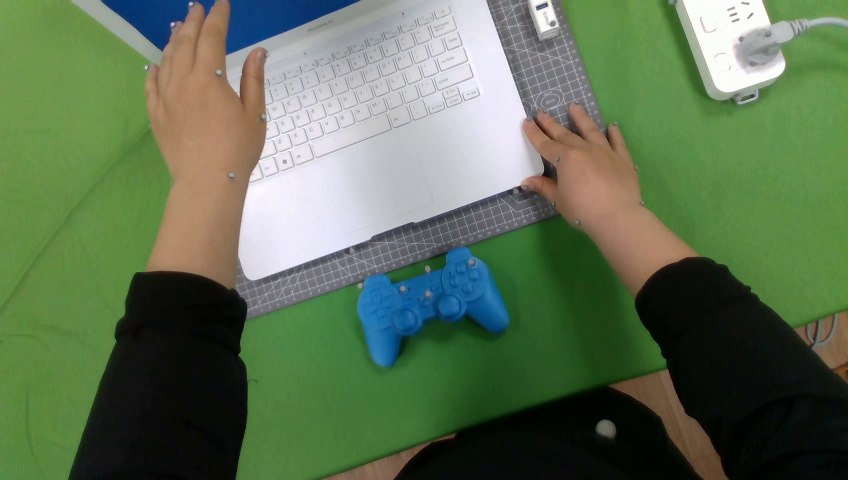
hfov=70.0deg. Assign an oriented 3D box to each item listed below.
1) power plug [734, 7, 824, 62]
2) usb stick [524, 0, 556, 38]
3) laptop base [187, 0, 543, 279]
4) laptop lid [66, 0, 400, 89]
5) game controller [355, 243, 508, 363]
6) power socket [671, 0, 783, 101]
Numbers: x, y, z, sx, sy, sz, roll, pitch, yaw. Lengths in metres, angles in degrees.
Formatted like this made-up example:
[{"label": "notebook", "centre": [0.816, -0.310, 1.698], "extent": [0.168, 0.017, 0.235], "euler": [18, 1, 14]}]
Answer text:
[{"label": "power plug", "centre": [0.338, -0.192, 0.583], "extent": [0.072, 0.053, 0.035], "euler": [-7, 85, 4]}, {"label": "usb stick", "centre": [0.120, -0.248, 0.641], "extent": [0.021, 0.027, 0.059], "euler": [-18, 83, 9]}, {"label": "laptop base", "centre": [-0.073, -0.122, 0.672], "extent": [0.354, 0.023, 0.235], "euler": [-20, 87, 7]}, {"label": "laptop lid", "centre": [-0.136, -0.257, 0.569], "extent": [0.356, 0.243, 0.013], "euler": [-20, 75, 9]}, {"label": "game controller", "centre": [0.003, 0.065, 0.636], "extent": [0.155, 0.052, 0.096], "euler": [-18, 80, 7]}, {"label": "power socket", "centre": [0.291, -0.252, 0.614], "extent": [0.072, 0.033, 0.226], "euler": [-18, 84, 9]}]
